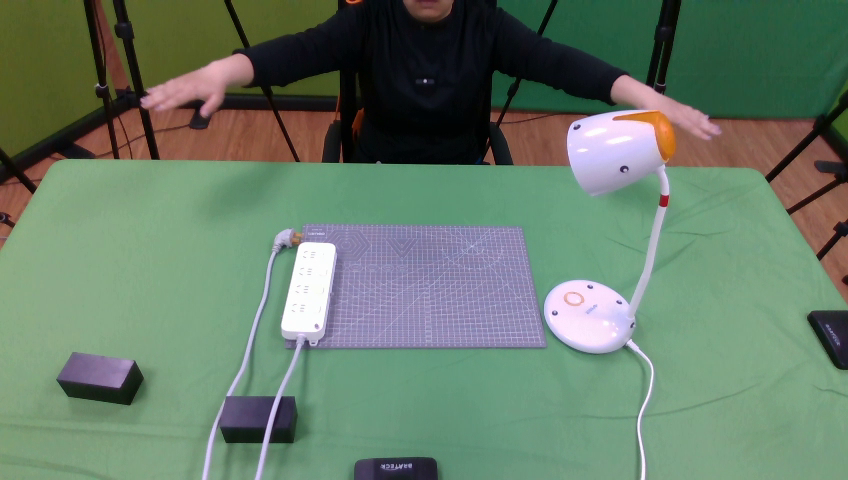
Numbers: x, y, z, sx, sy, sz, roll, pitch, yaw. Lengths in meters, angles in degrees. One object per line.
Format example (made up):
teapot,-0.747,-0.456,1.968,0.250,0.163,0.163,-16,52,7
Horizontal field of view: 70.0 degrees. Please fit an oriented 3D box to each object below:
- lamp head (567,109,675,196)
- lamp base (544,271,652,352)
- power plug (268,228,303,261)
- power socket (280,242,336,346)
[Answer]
lamp head,0.272,-0.123,0.818,0.122,0.113,0.112,-9,35,37
lamp base,0.309,0.086,1.029,0.178,0.181,0.160,32,52,21
power plug,-0.265,0.012,1.172,0.052,0.035,0.072,9,81,10
power socket,-0.206,0.087,1.087,0.072,0.033,0.225,3,46,-1
